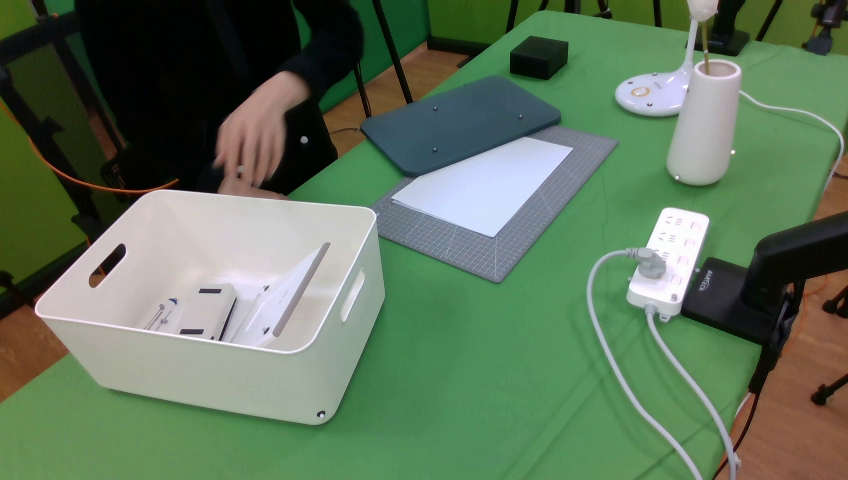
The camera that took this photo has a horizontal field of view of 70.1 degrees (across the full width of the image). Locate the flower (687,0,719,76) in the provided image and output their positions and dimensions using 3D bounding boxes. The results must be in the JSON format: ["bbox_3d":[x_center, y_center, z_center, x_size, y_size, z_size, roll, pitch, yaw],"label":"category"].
[{"bbox_3d":[0.436,-0.242,0.934,0.038,0.364,0.043,-24,49,8],"label":"flower"}]

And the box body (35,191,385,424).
[{"bbox_3d":[-0.254,0.081,0.807,0.363,0.161,0.253,5,42,14],"label":"box body"}]

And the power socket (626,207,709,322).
[{"bbox_3d":[0.360,0.026,0.886,0.072,0.033,0.227,17,46,26],"label":"power socket"}]

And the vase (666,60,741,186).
[{"bbox_3d":[0.463,-0.189,0.994,0.098,0.201,0.097,-4,40,3],"label":"vase"}]

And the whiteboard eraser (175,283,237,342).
[{"bbox_3d":[-0.296,0.109,0.823,0.055,0.042,0.112,3,42,2],"label":"whiteboard eraser"}]

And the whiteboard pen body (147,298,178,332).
[{"bbox_3d":[-0.396,0.138,0.868,0.017,0.017,0.140,6,43,15],"label":"whiteboard pen body"}]

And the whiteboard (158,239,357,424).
[{"bbox_3d":[-0.242,0.093,0.809,0.304,0.144,0.216,5,44,13],"label":"whiteboard"}]

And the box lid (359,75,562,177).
[{"bbox_3d":[0.074,-0.249,1.267,0.373,0.015,0.261,-23,42,-18],"label":"box lid"}]

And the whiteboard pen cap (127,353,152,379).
[{"bbox_3d":[-0.385,0.172,0.821,0.018,0.018,0.033,8,42,17],"label":"whiteboard pen cap"}]

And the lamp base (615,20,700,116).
[{"bbox_3d":[0.484,-0.364,1.211,0.180,0.181,0.159,-15,41,-14],"label":"lamp base"}]

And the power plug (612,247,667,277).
[{"bbox_3d":[0.306,0.031,0.852,0.072,0.053,0.035,21,48,38],"label":"power plug"}]
